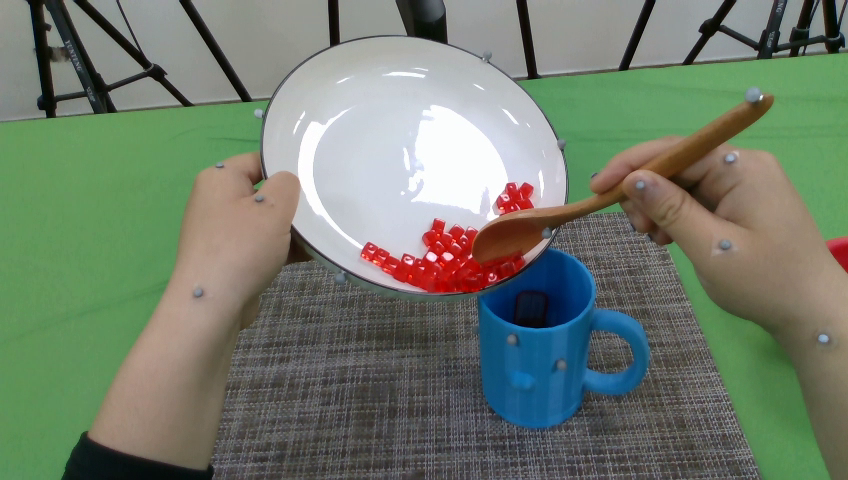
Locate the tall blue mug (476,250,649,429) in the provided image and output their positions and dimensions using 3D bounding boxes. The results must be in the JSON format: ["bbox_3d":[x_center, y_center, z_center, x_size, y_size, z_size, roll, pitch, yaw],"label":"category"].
[{"bbox_3d":[0.092,0.068,0.423,0.107,0.109,0.077,-9,41,-1],"label":"tall blue mug"}]

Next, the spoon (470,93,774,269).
[{"bbox_3d":[0.092,-0.022,0.325,0.042,0.193,0.021,21,60,-29],"label":"spoon"}]

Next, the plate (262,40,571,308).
[{"bbox_3d":[-0.003,-0.047,0.414,0.208,0.039,0.206,6,61,-11],"label":"plate"}]
